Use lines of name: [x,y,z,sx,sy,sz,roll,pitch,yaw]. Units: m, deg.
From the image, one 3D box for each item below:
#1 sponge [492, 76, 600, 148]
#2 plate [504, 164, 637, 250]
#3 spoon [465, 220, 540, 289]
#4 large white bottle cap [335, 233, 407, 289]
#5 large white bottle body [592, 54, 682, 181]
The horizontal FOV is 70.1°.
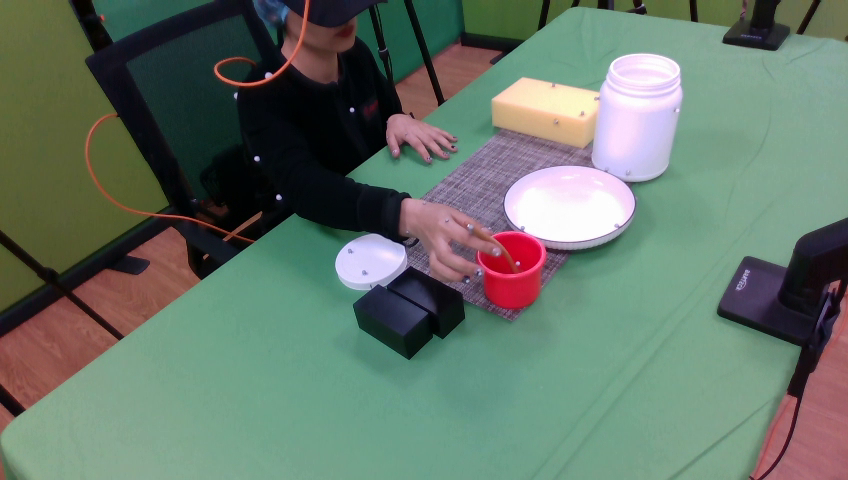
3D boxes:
sponge: [0.254,-0.259,1.207,0.205,0.061,0.118,22,47,31]
plate: [0.234,-0.051,0.981,0.209,0.038,0.208,-5,41,5]
spoon: [0.107,0.019,0.811,0.021,0.195,0.041,-38,45,9]
large white bottle cap: [-0.085,0.032,0.961,0.115,0.018,0.114,-6,41,6]
large white bottle body: [0.361,-0.207,1.027,0.130,0.185,0.130,-3,41,3]
